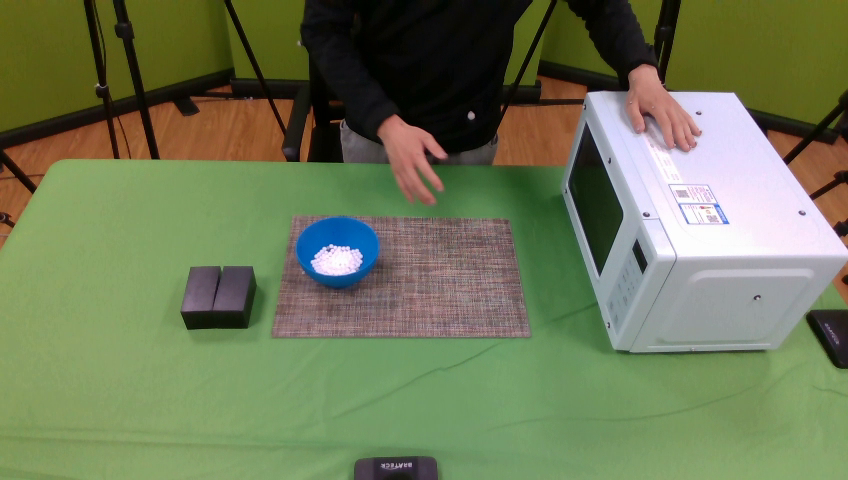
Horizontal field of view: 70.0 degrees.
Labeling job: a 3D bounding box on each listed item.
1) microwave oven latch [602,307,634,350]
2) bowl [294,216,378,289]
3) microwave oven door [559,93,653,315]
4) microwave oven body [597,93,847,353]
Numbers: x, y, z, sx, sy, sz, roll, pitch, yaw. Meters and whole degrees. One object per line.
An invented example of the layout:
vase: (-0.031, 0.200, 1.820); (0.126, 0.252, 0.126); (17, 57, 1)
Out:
microwave oven latch: (0.332, 0.153, 1.044); (0.030, 0.029, 0.078); (-1, 45, -4)
bowl: (-0.158, 0.036, 1.110); (0.151, 0.077, 0.150); (3, 45, -2)
microwave oven door: (0.327, -0.074, 1.123); (0.039, 0.245, 0.353); (-1, 46, -5)
microwave oven body: (0.475, -0.041, 1.109); (0.326, 0.261, 0.438); (-1, 45, -4)
